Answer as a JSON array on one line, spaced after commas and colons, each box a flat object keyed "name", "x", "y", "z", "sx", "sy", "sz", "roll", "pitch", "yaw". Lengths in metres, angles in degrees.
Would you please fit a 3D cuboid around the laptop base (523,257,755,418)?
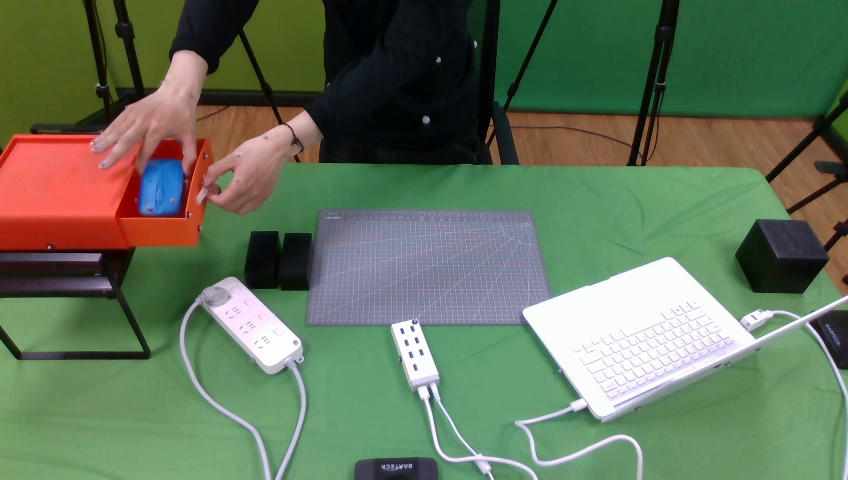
[{"name": "laptop base", "x": 0.380, "y": 0.159, "z": 1.077, "sx": 0.355, "sy": 0.023, "sz": 0.234, "roll": -17, "pitch": 47, "yaw": -20}]

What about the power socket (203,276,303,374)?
[{"name": "power socket", "x": -0.296, "y": 0.141, "z": 1.034, "sx": 0.225, "sy": 0.033, "sz": 0.072, "roll": 38, "pitch": 55, "yaw": 27}]

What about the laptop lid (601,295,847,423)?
[{"name": "laptop lid", "x": 0.449, "y": 0.180, "z": 0.905, "sx": 0.357, "sy": 0.242, "sz": 0.013, "roll": -17, "pitch": 64, "yaw": -20}]

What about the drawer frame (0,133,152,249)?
[{"name": "drawer frame", "x": -0.545, "y": -0.078, "z": 0.942, "sx": 0.214, "sy": 0.083, "sz": 0.200, "roll": -2, "pitch": 47, "yaw": -5}]

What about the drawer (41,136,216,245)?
[{"name": "drawer", "x": -0.450, "y": -0.082, "z": 0.950, "sx": 0.212, "sy": 0.073, "sz": 0.193, "roll": 0, "pitch": 47, "yaw": -6}]

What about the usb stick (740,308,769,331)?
[{"name": "usb stick", "x": 0.586, "y": 0.146, "z": 1.087, "sx": 0.059, "sy": 0.027, "sz": 0.021, "roll": -21, "pitch": 47, "yaw": -17}]

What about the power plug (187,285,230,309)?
[{"name": "power plug", "x": -0.370, "y": 0.103, "z": 1.039, "sx": 0.072, "sy": 0.053, "sz": 0.035, "roll": -25, "pitch": 53, "yaw": -23}]

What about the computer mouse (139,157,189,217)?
[{"name": "computer mouse", "x": -0.405, "y": -0.086, "z": 0.946, "sx": 0.063, "sy": 0.041, "sz": 0.116, "roll": 2, "pitch": 52, "yaw": -13}]

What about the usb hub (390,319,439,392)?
[{"name": "usb hub", "x": -0.016, "y": 0.190, "z": 1.013, "sx": 0.049, "sy": 0.025, "sz": 0.124, "roll": -11, "pitch": 48, "yaw": -15}]
